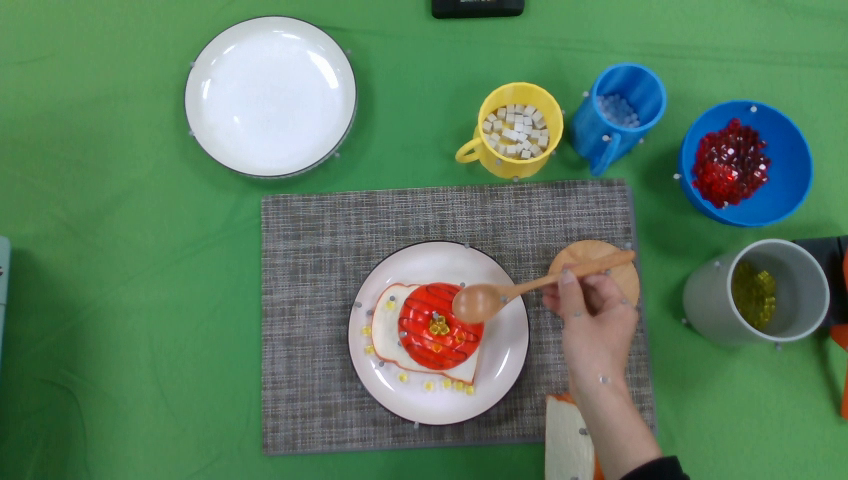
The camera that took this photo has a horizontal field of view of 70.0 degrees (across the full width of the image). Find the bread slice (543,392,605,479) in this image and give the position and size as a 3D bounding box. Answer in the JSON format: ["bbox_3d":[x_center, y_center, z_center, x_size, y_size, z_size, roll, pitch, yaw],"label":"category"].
[{"bbox_3d":[0.153,0.216,0.633,0.018,0.134,0.106,5,77,-7],"label":"bread slice"}]

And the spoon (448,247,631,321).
[{"bbox_3d":[0.114,0.043,0.616,0.193,0.022,0.041,-20,76,23],"label":"spoon"}]

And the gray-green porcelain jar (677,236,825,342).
[{"bbox_3d":[0.350,0.059,0.669,0.106,0.127,0.105,0,79,-1],"label":"gray-green porcelain jar"}]

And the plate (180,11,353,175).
[{"bbox_3d":[-0.190,-0.177,0.745,0.208,0.039,0.207,0,80,-1],"label":"plate"}]

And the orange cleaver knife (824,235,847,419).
[{"bbox_3d":[0.481,0.100,0.686,0.012,0.076,0.212,-5,109,-1],"label":"orange cleaver knife"}]

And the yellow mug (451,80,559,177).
[{"bbox_3d":[0.092,-0.126,0.728,0.131,0.064,0.099,-24,81,-4],"label":"yellow mug"}]

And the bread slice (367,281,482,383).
[{"bbox_3d":[0.000,0.101,0.696,0.131,0.019,0.104,11,79,1],"label":"bread slice"}]

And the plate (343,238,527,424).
[{"bbox_3d":[0.013,0.102,0.695,0.209,0.038,0.208,0,80,-1],"label":"plate"}]

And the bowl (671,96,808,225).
[{"bbox_3d":[0.359,-0.084,0.719,0.151,0.077,0.151,0,80,-1],"label":"bowl"}]

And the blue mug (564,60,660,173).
[{"bbox_3d":[0.214,-0.134,0.712,0.082,0.106,0.116,17,80,3],"label":"blue mug"}]

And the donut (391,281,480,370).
[{"bbox_3d":[0.013,0.093,0.669,0.099,0.048,0.098,1,79,-3],"label":"donut"}]

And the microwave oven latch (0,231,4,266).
[{"bbox_3d":[-0.497,0.025,0.683,0.030,0.029,0.079,1,80,-1],"label":"microwave oven latch"}]

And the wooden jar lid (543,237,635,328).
[{"bbox_3d":[0.194,0.051,0.718,0.108,0.021,0.108,0,81,-1],"label":"wooden jar lid"}]
